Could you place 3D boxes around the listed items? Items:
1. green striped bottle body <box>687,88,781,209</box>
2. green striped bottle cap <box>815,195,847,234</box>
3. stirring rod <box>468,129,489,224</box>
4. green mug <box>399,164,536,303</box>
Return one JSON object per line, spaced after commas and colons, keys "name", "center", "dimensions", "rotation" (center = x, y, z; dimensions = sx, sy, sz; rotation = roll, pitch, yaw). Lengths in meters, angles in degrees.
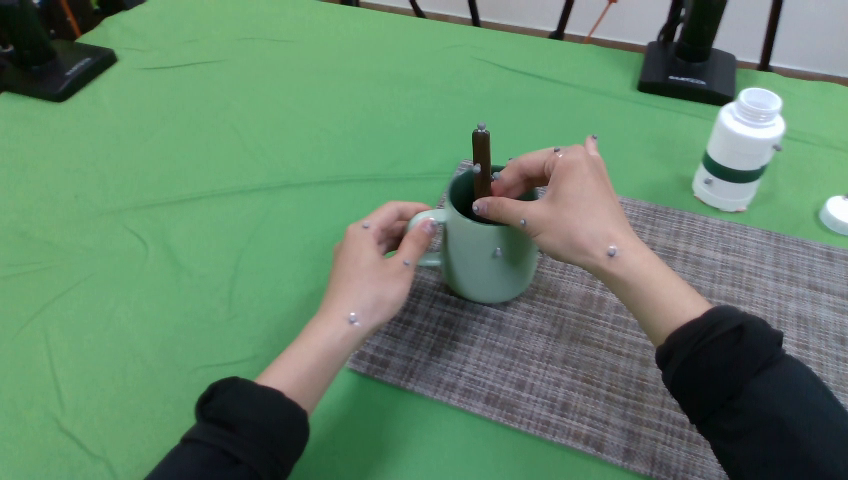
{"name": "green striped bottle body", "center": [0.320, -0.095, 0.623], "dimensions": [0.063, 0.120, 0.062], "rotation": [-1, 47, 1]}
{"name": "green striped bottle cap", "center": [0.433, -0.026, 0.627], "dimensions": [0.044, 0.020, 0.044], "rotation": [0, 43, 0]}
{"name": "stirring rod", "center": [0.047, -0.021, 0.506], "dimensions": [0.014, 0.178, 0.006], "rotation": [6, 49, 12]}
{"name": "green mug", "center": [0.040, -0.002, 0.549], "dimensions": [0.125, 0.106, 0.091], "rotation": [-7, 47, -5]}
